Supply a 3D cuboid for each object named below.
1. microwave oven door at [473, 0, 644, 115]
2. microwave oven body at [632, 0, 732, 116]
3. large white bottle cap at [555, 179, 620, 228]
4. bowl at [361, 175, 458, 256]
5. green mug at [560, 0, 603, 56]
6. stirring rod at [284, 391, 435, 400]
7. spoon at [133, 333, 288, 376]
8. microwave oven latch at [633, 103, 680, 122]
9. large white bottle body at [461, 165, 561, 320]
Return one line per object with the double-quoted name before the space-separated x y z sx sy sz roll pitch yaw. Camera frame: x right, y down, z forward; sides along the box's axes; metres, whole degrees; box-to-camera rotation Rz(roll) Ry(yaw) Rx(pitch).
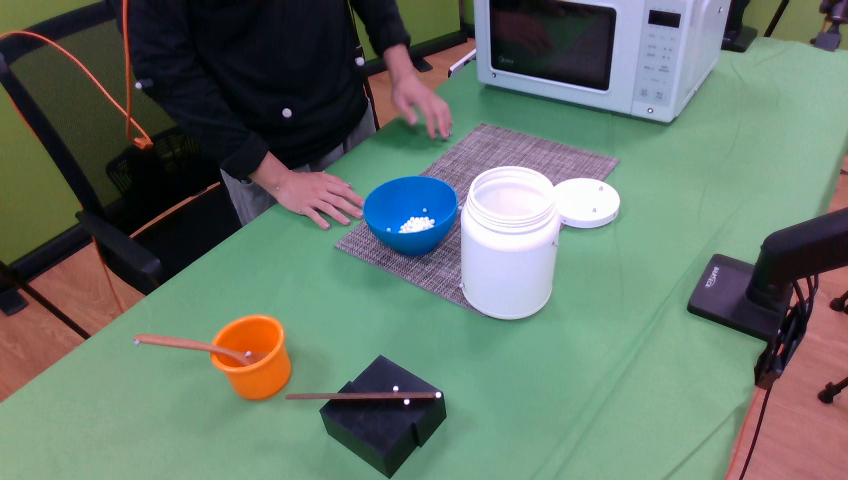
"microwave oven door" 0.257 -0.396 1.199 0.353 0.245 0.039 21 48 29
"microwave oven body" 0.377 -0.462 1.267 0.438 0.261 0.327 21 48 30
"large white bottle cap" 0.265 -0.062 1.001 0.115 0.018 0.114 -3 41 4
"bowl" -0.018 -0.029 0.955 0.151 0.077 0.150 -4 40 4
"green mug" 0.333 -0.451 1.294 0.092 0.105 0.125 10 48 21
"stirring rod" -0.075 0.180 0.698 0.176 0.006 0.014 -2 6 6
"spoon" -0.257 0.137 0.747 0.021 0.195 0.041 -48 40 22
"microwave oven latch" 0.444 -0.249 1.157 0.078 0.029 0.030 21 48 30
"large white bottle body" 0.115 0.003 0.815 0.130 0.185 0.130 -2 43 2
